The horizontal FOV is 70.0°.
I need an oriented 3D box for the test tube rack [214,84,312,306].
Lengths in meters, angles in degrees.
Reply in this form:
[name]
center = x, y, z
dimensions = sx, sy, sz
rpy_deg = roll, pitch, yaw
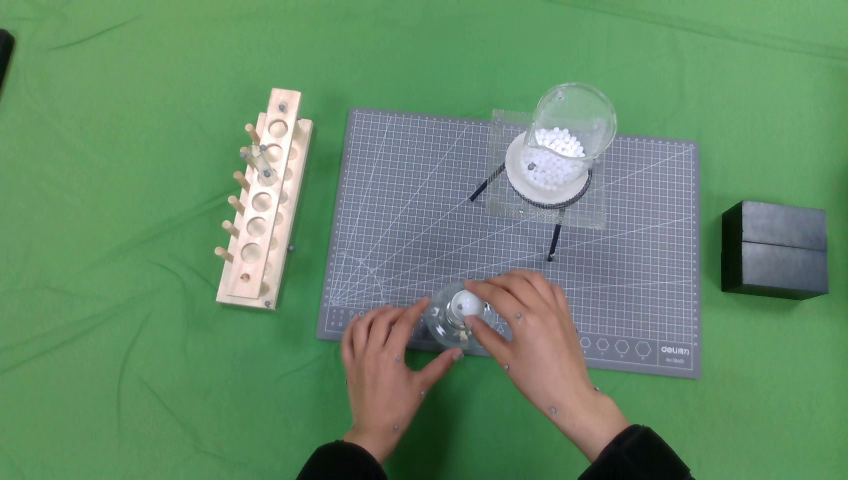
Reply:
[test tube rack]
center = -0.192, -0.052, 0.703
dimensions = 0.067, 0.085, 0.241
rpy_deg = 8, 76, 1

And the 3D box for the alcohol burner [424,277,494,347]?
[alcohol burner]
center = 0.040, 0.076, 0.660
dimensions = 0.078, 0.119, 0.077
rpy_deg = 1, 76, -3

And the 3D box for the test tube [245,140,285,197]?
[test tube]
center = -0.170, -0.074, 0.658
dimensions = 0.017, 0.150, 0.017
rpy_deg = 1, 77, -3

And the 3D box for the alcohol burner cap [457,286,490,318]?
[alcohol burner cap]
center = 0.047, 0.063, 0.595
dimensions = 0.034, 0.048, 0.034
rpy_deg = 0, 89, 8

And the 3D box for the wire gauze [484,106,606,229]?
[wire gauze]
center = 0.126, -0.078, 0.622
dimensions = 0.125, 0.011, 0.121
rpy_deg = 7, 76, -2

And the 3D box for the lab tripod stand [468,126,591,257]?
[lab tripod stand]
center = 0.129, -0.065, 0.687
dimensions = 0.148, 0.132, 0.147
rpy_deg = 0, 74, -1

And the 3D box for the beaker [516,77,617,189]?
[beaker]
center = 0.128, -0.094, 0.577
dimensions = 0.084, 0.100, 0.073
rpy_deg = -27, 78, -8
